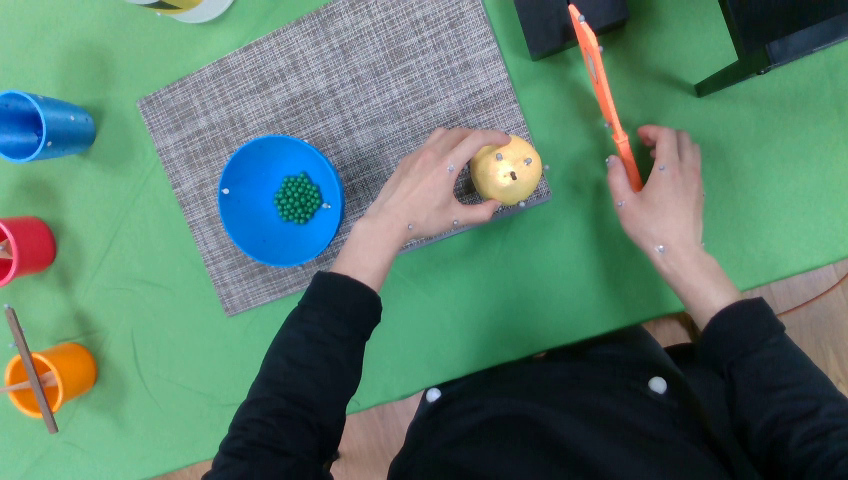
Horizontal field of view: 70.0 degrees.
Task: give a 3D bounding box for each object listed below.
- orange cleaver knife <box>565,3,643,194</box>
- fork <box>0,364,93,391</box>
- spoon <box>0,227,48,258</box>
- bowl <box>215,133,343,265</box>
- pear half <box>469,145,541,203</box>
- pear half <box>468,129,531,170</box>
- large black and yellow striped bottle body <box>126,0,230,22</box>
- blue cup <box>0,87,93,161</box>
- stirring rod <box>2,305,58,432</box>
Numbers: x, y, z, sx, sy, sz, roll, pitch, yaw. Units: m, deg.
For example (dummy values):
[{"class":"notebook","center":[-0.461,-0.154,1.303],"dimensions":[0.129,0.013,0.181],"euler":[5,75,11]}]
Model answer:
[{"class":"orange cleaver knife","center":[0.187,-0.142,0.629],"dimensions":[0.012,0.076,0.213],"euler":[-24,123,11]},{"class":"fork","center":[-0.560,0.194,0.808],"dimensions":[0.208,0.018,0.028],"euler":[-7,111,-31]},{"class":"spoon","center":[-0.603,0.022,0.794],"dimensions":[0.194,0.021,0.042],"euler":[-18,97,-29]},{"class":"bowl","center":[-0.158,-0.050,0.717],"dimensions":[0.151,0.077,0.151],"euler":[2,100,12]},{"class":"pear half","center":[0.091,-0.066,0.643],"dimensions":[0.076,0.109,0.056],"euler":[-27,101,11]},{"class":"pear half","center":[0.076,-0.099,0.644],"dimensions":[0.070,0.087,0.031],"euler":[-28,103,9]},{"class":"large black and yellow striped bottle body","center":[-0.299,-0.320,0.652],"dimensions":[0.130,0.184,0.131],"euler":[2,98,12]},{"class":"blue cup","center":[-0.476,-0.144,0.761],"dimensions":[0.092,0.100,0.093],"euler":[2,100,10]},{"class":"stirring rod","center":[-0.516,0.169,0.794],"dimensions":[0.014,0.006,0.176],"euler":[-16,96,11]}]
